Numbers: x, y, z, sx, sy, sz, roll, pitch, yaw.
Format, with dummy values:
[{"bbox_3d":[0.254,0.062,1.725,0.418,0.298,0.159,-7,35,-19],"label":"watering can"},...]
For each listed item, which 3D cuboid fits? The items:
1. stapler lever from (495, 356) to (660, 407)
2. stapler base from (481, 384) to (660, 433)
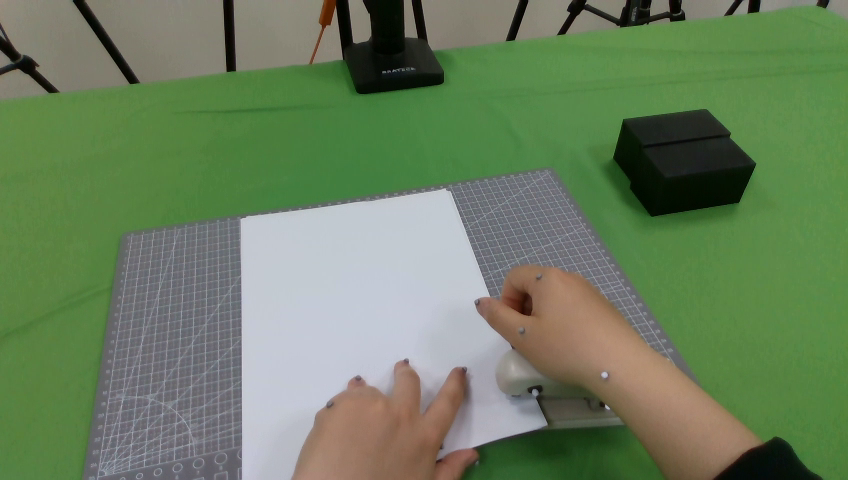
[{"bbox_3d":[0.110,0.100,0.433,0.118,0.040,0.026,-4,46,-2],"label":"stapler lever"},{"bbox_3d":[0.109,0.116,0.448,0.131,0.024,0.041,-2,45,-5],"label":"stapler base"}]
